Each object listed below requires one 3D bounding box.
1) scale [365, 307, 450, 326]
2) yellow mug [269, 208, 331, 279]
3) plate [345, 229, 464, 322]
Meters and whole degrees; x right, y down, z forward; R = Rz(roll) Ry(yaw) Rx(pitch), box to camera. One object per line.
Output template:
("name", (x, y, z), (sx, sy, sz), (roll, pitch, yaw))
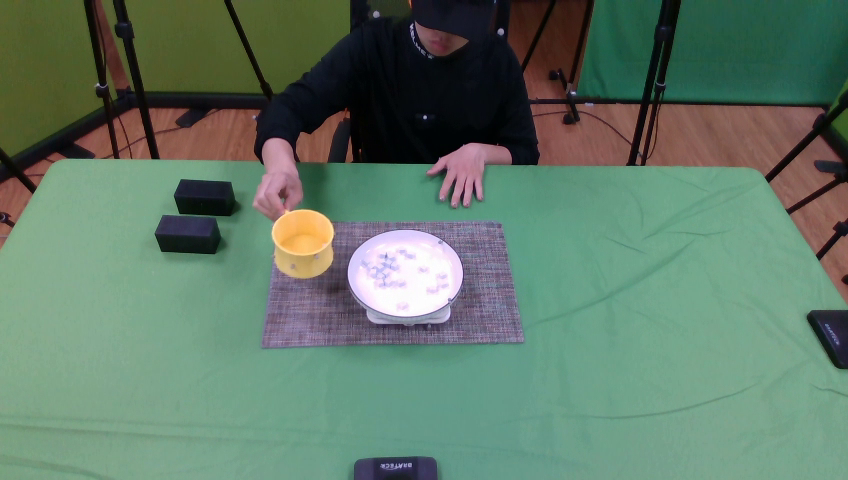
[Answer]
("scale", (-0.032, 0.071, 1.113), (0.149, 0.032, 0.199), (1, 46, -4))
("yellow mug", (-0.216, -0.004, 1.026), (0.100, 0.064, 0.130), (-28, 60, -29))
("plate", (-0.034, 0.065, 1.073), (0.209, 0.038, 0.208), (2, 46, -2))
